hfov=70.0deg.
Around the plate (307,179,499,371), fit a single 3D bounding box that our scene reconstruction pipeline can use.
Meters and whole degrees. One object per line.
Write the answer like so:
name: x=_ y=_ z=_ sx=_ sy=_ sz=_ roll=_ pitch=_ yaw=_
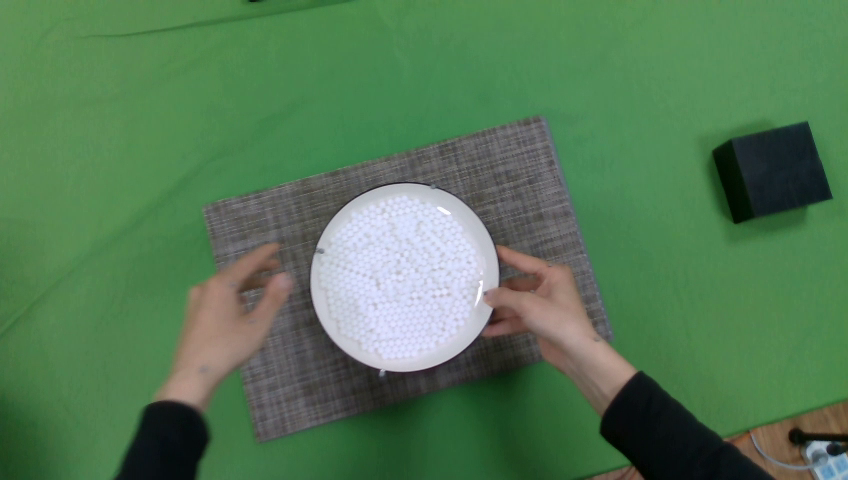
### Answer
plate: x=-0.022 y=0.038 z=0.667 sx=0.209 sy=0.038 sz=0.208 roll=0 pitch=82 yaw=1
